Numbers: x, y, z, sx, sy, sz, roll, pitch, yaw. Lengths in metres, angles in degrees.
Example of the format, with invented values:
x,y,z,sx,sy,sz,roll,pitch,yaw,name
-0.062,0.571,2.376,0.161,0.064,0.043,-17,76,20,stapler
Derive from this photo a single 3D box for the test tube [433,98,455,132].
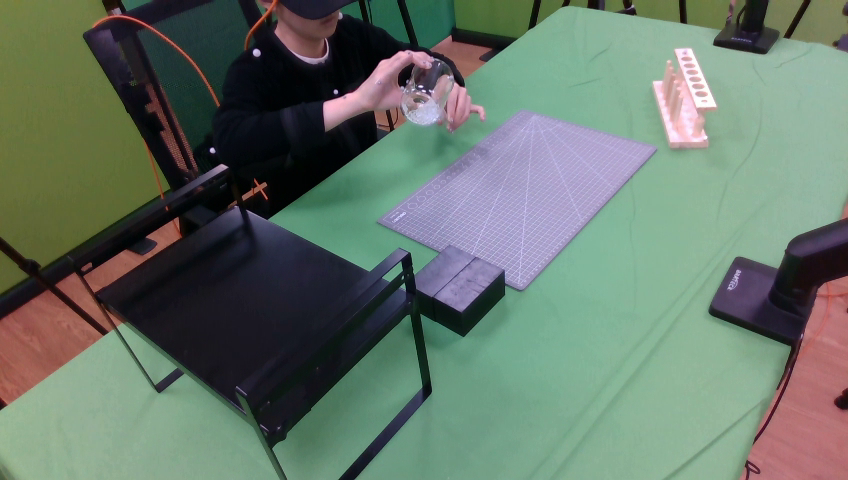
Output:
x,y,z,sx,sy,sz,roll,pitch,yaw,name
0.039,-0.228,1.111,0.017,0.151,0.017,-2,82,12,test tube

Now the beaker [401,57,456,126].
x,y,z,sx,sy,sz,roll,pitch,yaw,name
0.006,-0.236,0.983,0.074,0.084,0.100,2,43,16,beaker

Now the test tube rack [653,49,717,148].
x,y,z,sx,sy,sz,roll,pitch,yaw,name
0.502,-0.281,1.177,0.066,0.085,0.241,1,41,10,test tube rack
